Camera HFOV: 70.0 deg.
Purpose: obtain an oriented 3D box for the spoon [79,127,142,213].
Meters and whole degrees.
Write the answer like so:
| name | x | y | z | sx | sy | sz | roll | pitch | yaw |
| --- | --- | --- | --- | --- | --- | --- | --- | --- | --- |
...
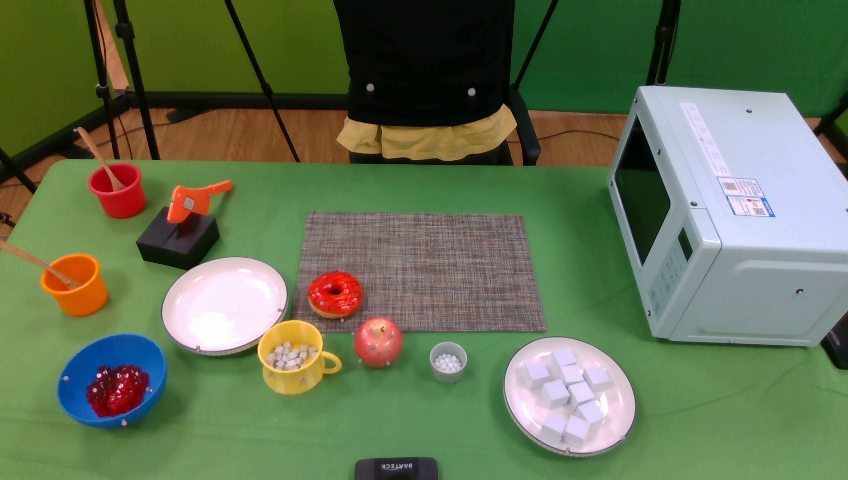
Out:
| name | x | y | z | sx | sy | sz | roll | pitch | yaw |
| --- | --- | --- | --- | --- | --- | --- | --- | --- | --- |
| spoon | -0.624 | -0.139 | 1.203 | 0.041 | 0.021 | 0.194 | -33 | 100 | -26 |

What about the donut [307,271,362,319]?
| name | x | y | z | sx | sy | sz | roll | pitch | yaw |
| --- | --- | --- | --- | --- | --- | --- | --- | --- | --- |
| donut | -0.157 | 0.097 | 1.072 | 0.099 | 0.048 | 0.098 | 3 | 45 | -3 |

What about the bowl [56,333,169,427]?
| name | x | y | z | sx | sy | sz | roll | pitch | yaw |
| --- | --- | --- | --- | --- | --- | --- | --- | --- | --- |
| bowl | -0.456 | 0.223 | 0.912 | 0.151 | 0.077 | 0.150 | 3 | 46 | -2 |

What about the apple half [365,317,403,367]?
| name | x | y | z | sx | sy | sz | roll | pitch | yaw |
| --- | --- | --- | --- | --- | --- | --- | --- | --- | --- |
| apple half | -0.063 | 0.165 | 1.000 | 0.053 | 0.075 | 0.080 | -16 | 45 | -24 |

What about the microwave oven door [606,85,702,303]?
| name | x | y | z | sx | sy | sz | roll | pitch | yaw |
| --- | --- | --- | --- | --- | --- | --- | --- | --- | --- |
| microwave oven door | 0.423 | -0.094 | 1.140 | 0.039 | 0.245 | 0.353 | 2 | 46 | -1 |

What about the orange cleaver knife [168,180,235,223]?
| name | x | y | z | sx | sy | sz | roll | pitch | yaw |
| --- | --- | --- | --- | --- | --- | --- | --- | --- | --- |
| orange cleaver knife | -0.435 | -0.078 | 1.196 | 0.012 | 0.077 | 0.211 | 15 | 15 | 10 |

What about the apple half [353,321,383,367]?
| name | x | y | z | sx | sy | sz | roll | pitch | yaw |
| --- | --- | --- | --- | --- | --- | --- | --- | --- | --- |
| apple half | -0.098 | 0.177 | 0.984 | 0.033 | 0.081 | 0.081 | -17 | 49 | -25 |

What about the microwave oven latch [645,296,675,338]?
| name | x | y | z | sx | sy | sz | roll | pitch | yaw |
| --- | --- | --- | --- | --- | --- | --- | --- | --- | --- |
| microwave oven latch | 0.411 | 0.134 | 1.061 | 0.030 | 0.029 | 0.078 | 4 | 45 | 0 |

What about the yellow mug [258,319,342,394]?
| name | x | y | z | sx | sy | sz | roll | pitch | yaw |
| --- | --- | --- | --- | --- | --- | --- | --- | --- | --- |
| yellow mug | -0.196 | 0.189 | 0.972 | 0.131 | 0.064 | 0.099 | 9 | 46 | 3 |

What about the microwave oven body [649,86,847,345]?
| name | x | y | z | sx | sy | sz | roll | pitch | yaw |
| --- | --- | --- | --- | --- | --- | --- | --- | --- | --- |
| microwave oven body | 0.567 | -0.053 | 1.118 | 0.326 | 0.261 | 0.439 | 2 | 45 | -1 |

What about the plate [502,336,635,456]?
| name | x | y | z | sx | sy | sz | roll | pitch | yaw |
| --- | --- | --- | --- | --- | --- | --- | --- | --- | --- |
| plate | 0.225 | 0.248 | 0.963 | 0.208 | 0.039 | 0.206 | 2 | 46 | -2 |

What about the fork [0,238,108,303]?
| name | x | y | z | sx | sy | sz | roll | pitch | yaw |
| --- | --- | --- | --- | --- | --- | --- | --- | --- | --- |
| fork | -0.633 | 0.048 | 1.017 | 0.208 | 0.018 | 0.028 | 40 | 41 | -27 |

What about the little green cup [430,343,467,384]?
| name | x | y | z | sx | sy | sz | roll | pitch | yaw |
| --- | --- | --- | --- | --- | --- | --- | --- | --- | --- |
| little green cup | 0.039 | 0.203 | 0.994 | 0.061 | 0.039 | 0.061 | 2 | 46 | -2 |

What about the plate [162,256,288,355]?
| name | x | y | z | sx | sy | sz | roll | pitch | yaw |
| --- | --- | --- | --- | --- | --- | --- | --- | --- | --- |
| plate | -0.341 | 0.115 | 1.051 | 0.209 | 0.038 | 0.208 | 2 | 46 | -2 |
